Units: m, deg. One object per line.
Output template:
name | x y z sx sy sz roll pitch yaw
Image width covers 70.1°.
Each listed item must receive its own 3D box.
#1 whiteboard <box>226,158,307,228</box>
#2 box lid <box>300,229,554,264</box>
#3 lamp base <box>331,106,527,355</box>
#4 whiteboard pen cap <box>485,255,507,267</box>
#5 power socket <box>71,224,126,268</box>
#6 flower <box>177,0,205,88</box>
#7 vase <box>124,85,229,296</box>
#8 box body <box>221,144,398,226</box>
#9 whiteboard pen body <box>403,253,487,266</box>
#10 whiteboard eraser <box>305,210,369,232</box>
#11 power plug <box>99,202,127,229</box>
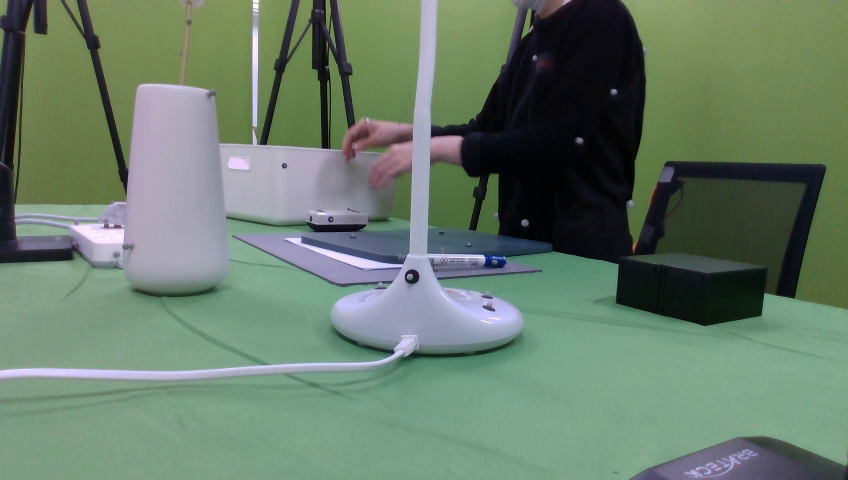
whiteboard | -0.276 -0.119 1.376 0.216 0.143 0.307 7 10 39
box lid | 0.011 0.006 0.998 0.374 0.015 0.262 -3 9 -43
lamp base | 0.006 -0.012 0.478 0.161 0.180 0.179 2 10 2
whiteboard pen cap | 0.093 0.028 0.810 0.033 0.018 0.018 2 7 -24
power socket | -0.409 0.004 0.793 0.072 0.032 0.225 -2 8 -37
flower | -0.243 -0.131 0.609 0.044 0.361 0.038 -5 -12 12
vase | -0.244 -0.047 0.598 0.098 0.200 0.098 3 8 0
box body | -0.264 -0.129 1.380 0.253 0.160 0.366 8 9 39
whiteboard pen body | 0.040 0.026 0.785 0.141 0.017 0.017 2 7 -24
whiteboard eraser | -0.168 -0.038 1.172 0.113 0.042 0.055 -3 7 -35
power plug | -0.415 -0.026 0.848 0.073 0.052 0.035 6 5 -28
